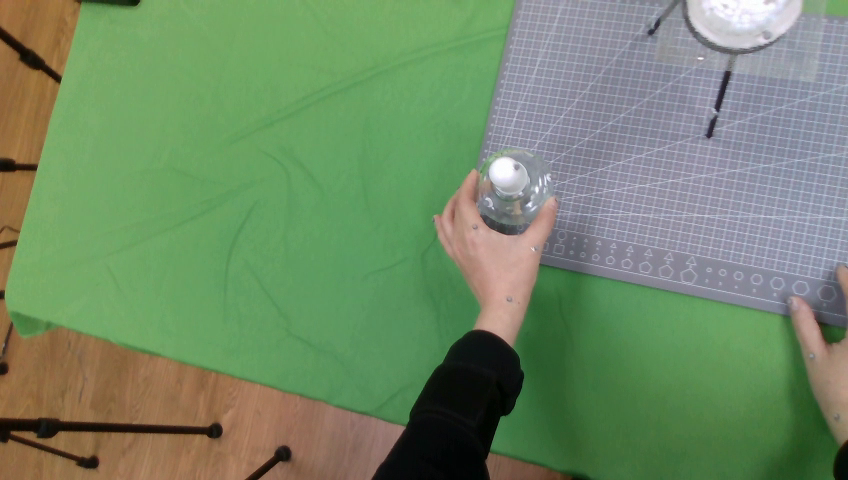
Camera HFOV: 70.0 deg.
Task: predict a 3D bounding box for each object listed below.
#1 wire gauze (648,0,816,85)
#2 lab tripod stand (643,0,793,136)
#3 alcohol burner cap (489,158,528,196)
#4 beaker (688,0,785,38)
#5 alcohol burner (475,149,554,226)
[{"bbox_3d":[0.256,-0.195,0.496,0.124,0.011,0.121,11,89,13],"label":"wire gauze"},{"bbox_3d":[0.272,-0.185,0.559,0.148,0.132,0.148,-1,84,14],"label":"lab tripod stand"},{"bbox_3d":[0.075,-0.059,0.547,0.034,0.048,0.034,-1,87,17],"label":"alcohol burner cap"},{"bbox_3d":[0.238,-0.203,0.451,0.083,0.101,0.074,25,90,17],"label":"beaker"},{"bbox_3d":[0.085,-0.054,0.582,0.078,0.119,0.077,-2,82,13],"label":"alcohol burner"}]
